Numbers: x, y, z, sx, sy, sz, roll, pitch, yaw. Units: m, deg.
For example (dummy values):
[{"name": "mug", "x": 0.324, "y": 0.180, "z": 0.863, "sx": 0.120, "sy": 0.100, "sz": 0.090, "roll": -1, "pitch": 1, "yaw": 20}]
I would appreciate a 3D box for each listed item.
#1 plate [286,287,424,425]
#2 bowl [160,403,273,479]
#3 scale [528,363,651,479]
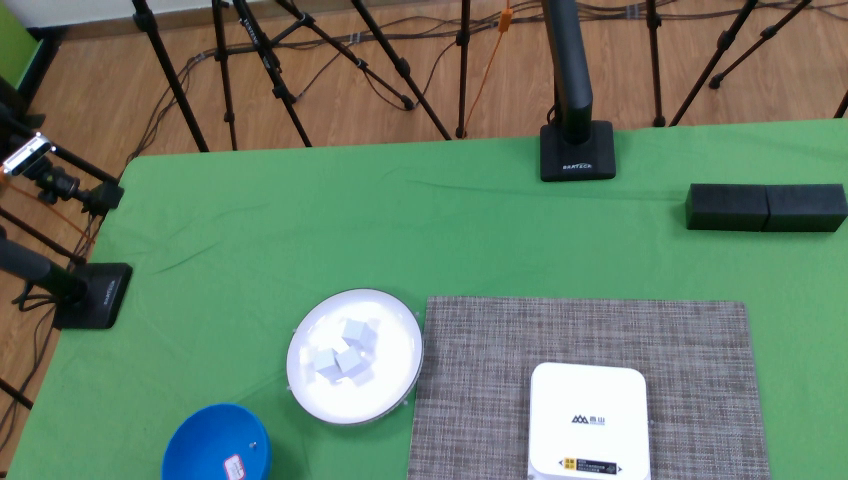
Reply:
[{"name": "plate", "x": -0.100, "y": 0.171, "z": 0.894, "sx": 0.207, "sy": 0.039, "sz": 0.206, "roll": -5, "pitch": 60, "yaw": 9}, {"name": "bowl", "x": -0.268, "y": 0.308, "z": 0.828, "sx": 0.151, "sy": 0.077, "sz": 0.150, "roll": -5, "pitch": 60, "yaw": 10}, {"name": "scale", "x": 0.210, "y": 0.258, "z": 0.774, "sx": 0.148, "sy": 0.032, "sz": 0.199, "roll": 0, "pitch": 61, "yaw": 13}]
